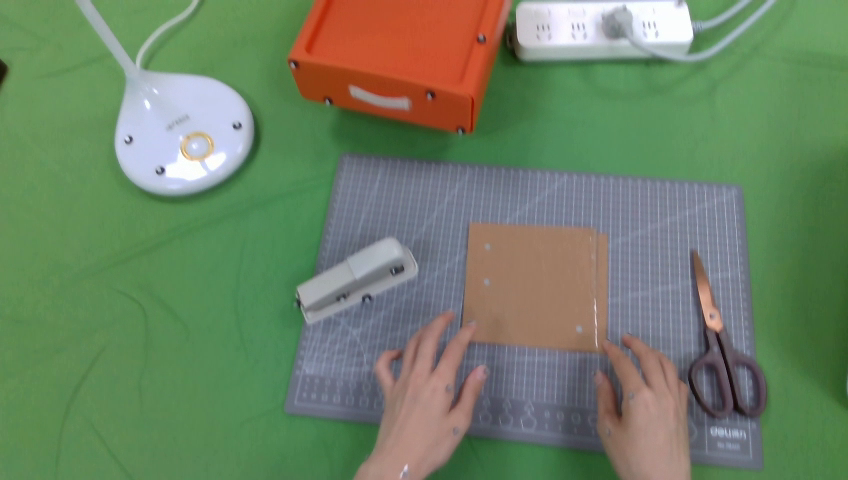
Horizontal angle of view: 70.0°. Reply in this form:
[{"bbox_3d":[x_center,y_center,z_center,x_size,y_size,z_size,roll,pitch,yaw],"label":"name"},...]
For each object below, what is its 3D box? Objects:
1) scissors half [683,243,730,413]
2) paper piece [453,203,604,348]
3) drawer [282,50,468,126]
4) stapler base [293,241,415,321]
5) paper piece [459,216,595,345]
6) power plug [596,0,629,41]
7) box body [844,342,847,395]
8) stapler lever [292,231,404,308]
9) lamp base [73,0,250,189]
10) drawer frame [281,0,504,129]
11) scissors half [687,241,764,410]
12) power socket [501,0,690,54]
[{"bbox_3d":[0.272,0.081,0.598,0.040,0.013,0.174,7,65,-2],"label":"scissors half"},{"bbox_3d":[0.111,0.033,0.639,0.135,0.004,0.135,13,71,15],"label":"paper piece"},{"bbox_3d":[-0.023,-0.244,0.666,0.194,0.074,0.210,13,68,9],"label":"drawer"},{"bbox_3d":[-0.073,0.037,0.628,0.130,0.024,0.041,-25,66,-6],"label":"stapler base"},{"bbox_3d":[0.107,0.038,0.626,0.136,0.009,0.137,2,70,8],"label":"paper piece"},{"bbox_3d":[0.217,-0.248,0.705,0.035,0.053,0.072,10,68,7],"label":"power plug"},{"bbox_3d":[0.553,0.012,0.536,0.253,0.161,0.362,18,70,10],"label":"box body"},{"bbox_3d":[-0.076,0.028,0.605,0.118,0.040,0.026,-25,65,-6],"label":"stapler lever"},{"bbox_3d":[-0.297,-0.168,0.640,0.178,0.181,0.160,37,73,19],"label":"lamp base"},{"bbox_3d":[-0.023,-0.249,0.671,0.201,0.083,0.212,13,70,8],"label":"drawer frame"},{"bbox_3d":[0.292,0.080,0.599,0.040,0.013,0.173,-11,67,-4],"label":"scissors half"},{"bbox_3d":[0.209,-0.265,0.738,0.227,0.033,0.071,0,68,2],"label":"power socket"}]
